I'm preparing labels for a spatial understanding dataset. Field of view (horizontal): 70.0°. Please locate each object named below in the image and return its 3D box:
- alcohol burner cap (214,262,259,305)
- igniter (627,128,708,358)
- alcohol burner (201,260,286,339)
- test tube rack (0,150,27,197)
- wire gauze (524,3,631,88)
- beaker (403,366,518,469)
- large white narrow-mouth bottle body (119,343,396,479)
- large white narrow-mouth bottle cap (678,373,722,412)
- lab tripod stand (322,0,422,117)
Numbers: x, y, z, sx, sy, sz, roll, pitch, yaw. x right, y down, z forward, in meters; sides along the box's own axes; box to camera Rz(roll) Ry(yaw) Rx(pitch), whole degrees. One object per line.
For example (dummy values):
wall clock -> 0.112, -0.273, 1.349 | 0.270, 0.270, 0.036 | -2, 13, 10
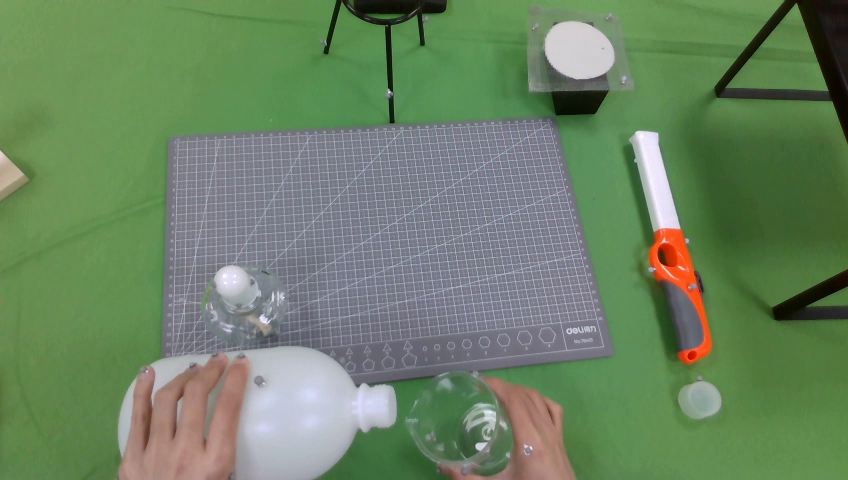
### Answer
alcohol burner cap -> -0.165, 0.036, 0.525 | 0.034, 0.048, 0.033 | 1, 72, -2
igniter -> 0.271, -0.005, 0.679 | 0.057, 0.025, 0.274 | 2, 67, -16
alcohol burner -> -0.168, 0.049, 0.558 | 0.078, 0.120, 0.077 | 3, 65, -7
test tube rack -> -0.520, -0.025, 0.568 | 0.066, 0.085, 0.242 | 41, 69, 11
wire gauze -> 0.179, -0.231, 0.721 | 0.121, 0.011, 0.124 | 3, 67, -5
beaker -> 0.036, 0.158, 0.525 | 0.084, 0.101, 0.073 | -8, 63, 18
large white narrow-mouth bottle body -> -0.117, 0.130, 0.460 | 0.194, 0.102, 0.101 | -7, 67, 9
large white narrow-mouth bottle cap -> 0.281, 0.155, 0.618 | 0.038, 0.024, 0.037 | 2, 66, -5
lab tripod stand -> -0.048, -0.235, 0.683 | 0.149, 0.132, 0.147 | 3, 68, -7
